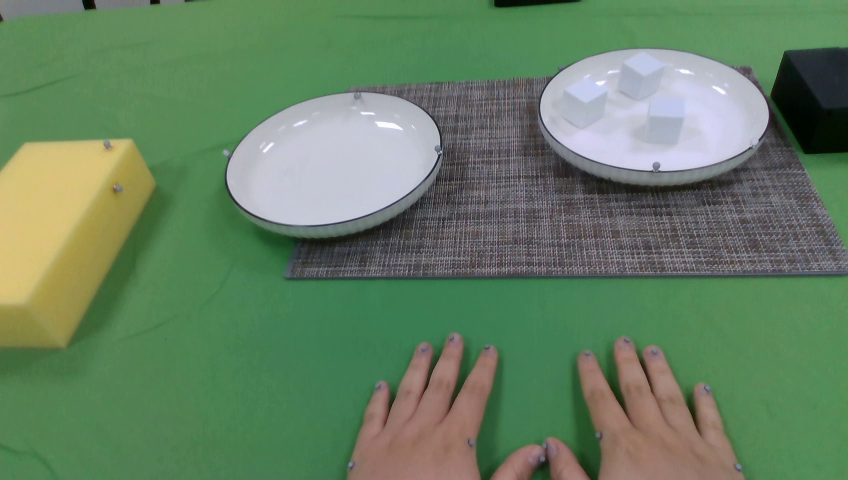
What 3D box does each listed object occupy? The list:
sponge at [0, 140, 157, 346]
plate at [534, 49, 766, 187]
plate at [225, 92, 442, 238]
[{"bbox_3d":[-0.345,-0.005,0.549,0.118,0.061,0.205,-1,46,6],"label":"sponge"},{"bbox_3d":[0.211,-0.116,0.586,0.207,0.039,0.205,-4,45,5],"label":"plate"},{"bbox_3d":[-0.084,-0.072,0.588,0.209,0.038,0.207,-4,45,5],"label":"plate"}]
